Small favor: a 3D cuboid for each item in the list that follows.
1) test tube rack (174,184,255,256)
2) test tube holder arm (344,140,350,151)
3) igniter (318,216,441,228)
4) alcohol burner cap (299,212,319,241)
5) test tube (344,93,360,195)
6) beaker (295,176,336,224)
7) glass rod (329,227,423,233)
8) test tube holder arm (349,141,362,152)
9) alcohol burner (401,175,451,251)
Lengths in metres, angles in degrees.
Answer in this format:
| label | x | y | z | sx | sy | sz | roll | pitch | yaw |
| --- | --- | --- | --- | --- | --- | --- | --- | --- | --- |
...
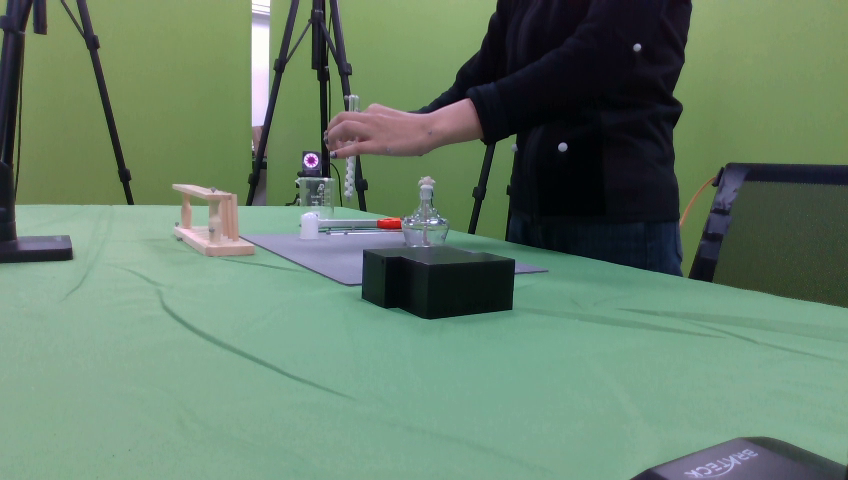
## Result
| label | x | y | z | sx | sy | sz | roll | pitch | yaw |
| --- | --- | --- | --- | --- | --- | --- | --- | --- | --- |
| test tube rack | -0.327 | -0.036 | 0.928 | 0.067 | 0.085 | 0.241 | -2 | 9 | -32 |
| test tube holder arm | -0.120 | -0.151 | 0.964 | 0.013 | 0.015 | 0.178 | 9 | 8 | -8 |
| igniter | -0.090 | -0.035 | 1.222 | 0.278 | 0.025 | 0.057 | -2 | -2 | -31 |
| alcohol burner cap | -0.195 | -0.024 | 1.025 | 0.034 | 0.048 | 0.034 | 3 | 7 | 0 |
| test tube | -0.108 | -0.141 | 0.898 | 0.017 | 0.150 | 0.017 | 4 | 8 | 0 |
| beaker | -0.224 | -0.080 | 1.247 | 0.084 | 0.100 | 0.073 | -1 | 8 | -18 |
| glass rod | -0.087 | -0.019 | 1.148 | 0.201 | 0.008 | 0.008 | -3 | 8 | -32 |
| test tube holder arm | -0.107 | -0.143 | 0.922 | 0.010 | 0.015 | 0.087 | 7 | 9 | -18 |
| alcohol burner | 0.004 | -0.042 | 0.947 | 0.078 | 0.119 | 0.078 | 1 | 9 | 0 |
